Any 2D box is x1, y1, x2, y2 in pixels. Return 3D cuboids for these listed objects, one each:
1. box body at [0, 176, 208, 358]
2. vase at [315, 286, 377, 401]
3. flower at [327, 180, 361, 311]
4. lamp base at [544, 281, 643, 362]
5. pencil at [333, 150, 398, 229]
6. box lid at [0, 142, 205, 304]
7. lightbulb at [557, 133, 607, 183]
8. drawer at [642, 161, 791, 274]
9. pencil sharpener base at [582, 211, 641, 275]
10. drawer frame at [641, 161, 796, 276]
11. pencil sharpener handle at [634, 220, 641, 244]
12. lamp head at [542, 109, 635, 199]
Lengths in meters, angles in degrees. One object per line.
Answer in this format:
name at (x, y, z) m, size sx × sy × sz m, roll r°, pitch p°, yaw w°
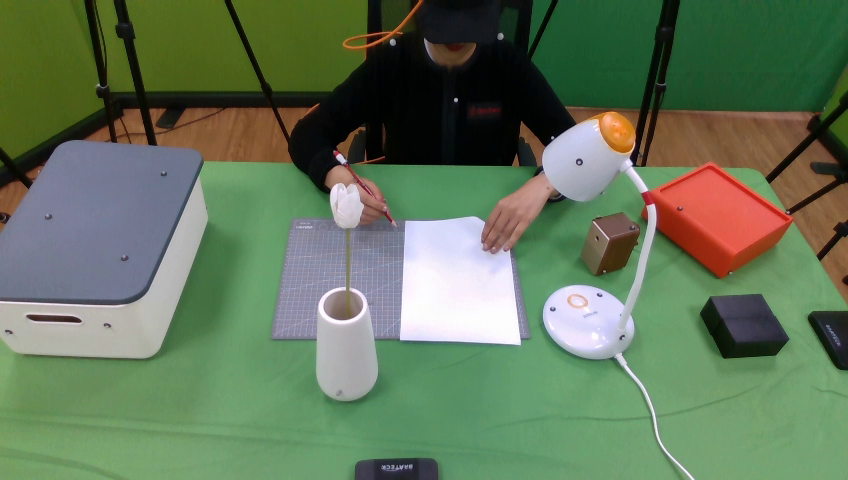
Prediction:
box body at (-0.546, 0.017, 1.045) m, size 0.254 × 0.161 × 0.361 m, roll 2°, pitch 46°, yaw -2°
vase at (-0.119, 0.159, 0.911) m, size 0.098 × 0.201 × 0.097 m, roll 2°, pitch 47°, yaw -2°
flower at (-0.111, 0.086, 0.867) m, size 0.044 × 0.363 × 0.038 m, roll 22°, pitch 33°, yaw 36°
lamp base at (0.304, 0.095, 1.014) m, size 0.161 × 0.181 × 0.178 m, roll -24°, pitch 54°, yaw -24°
pencil at (-0.110, -0.096, 1.152) m, size 0.012 × 0.012 × 0.194 m, roll -36°, pitch 84°, yaw -32°
box lid at (-0.533, -0.044, 0.995) m, size 0.263 × 0.015 × 0.369 m, roll 3°, pitch 45°, yaw -3°
lightbulb at (0.243, -0.127, 0.917) m, size 0.059 × 0.108 × 0.059 m, roll 6°, pitch 67°, yaw -13°
drawer at (0.596, -0.051, 1.246) m, size 0.194 × 0.073 × 0.210 m, roll -23°, pitch 53°, yaw -25°
pencil sharpener base at (0.357, 0.005, 1.156) m, size 0.077 × 0.107 × 0.061 m, roll -15°, pitch 48°, yaw -18°
drawer frame at (0.599, -0.051, 1.244) m, size 0.202 × 0.083 × 0.212 m, roll -24°, pitch 52°, yaw -25°
pencil sharpener handle at (0.405, -0.015, 1.162) m, size 0.031 × 0.068 × 0.035 m, roll -15°, pitch 45°, yaw -17°
lamp head at (0.253, -0.131, 0.893) m, size 0.113 × 0.123 × 0.112 m, roll 10°, pitch 66°, yaw -24°
